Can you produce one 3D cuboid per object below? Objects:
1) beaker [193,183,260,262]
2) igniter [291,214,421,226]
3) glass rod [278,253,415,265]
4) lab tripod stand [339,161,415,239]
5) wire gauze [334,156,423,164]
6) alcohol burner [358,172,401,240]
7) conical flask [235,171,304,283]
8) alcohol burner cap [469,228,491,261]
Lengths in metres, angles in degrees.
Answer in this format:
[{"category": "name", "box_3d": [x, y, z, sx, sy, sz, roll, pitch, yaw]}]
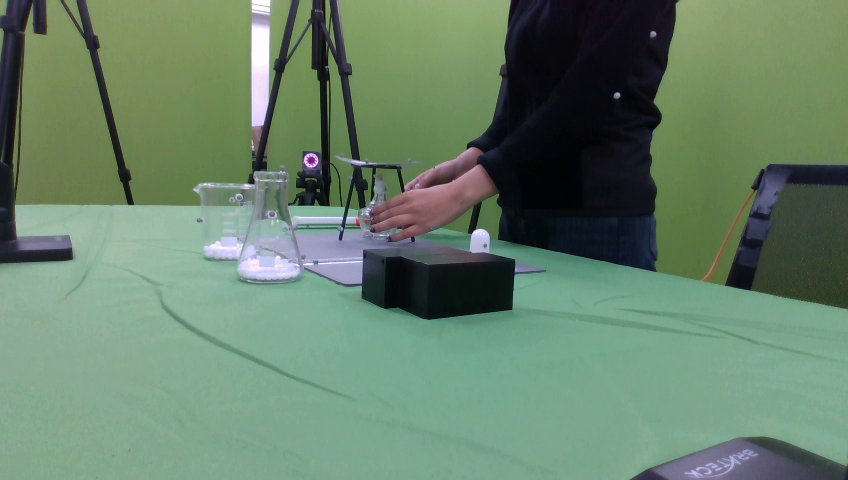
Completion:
[{"category": "beaker", "box_3d": [-0.262, -0.025, 0.806, 0.084, 0.100, 0.073, -3, 9, -30]}, {"category": "igniter", "box_3d": [-0.135, -0.041, 1.250, 0.278, 0.025, 0.057, -2, -3, -28]}, {"category": "glass rod", "box_3d": [-0.097, 0.024, 0.805, 0.201, 0.008, 0.008, -2, 8, -33]}, {"category": "lab tripod stand", "box_3d": [-0.082, -0.070, 1.060, 0.148, 0.131, 0.148, 4, 6, 0]}, {"category": "wire gauze", "box_3d": [-0.081, -0.137, 1.051, 0.122, 0.011, 0.124, 0, 8, -30]}, {"category": "alcohol burner", "box_3d": [-0.077, -0.061, 1.065, 0.078, 0.119, 0.078, 4, 9, 0]}, {"category": "conical flask", "box_3d": [-0.172, -0.016, 0.677, 0.075, 0.122, 0.075, 2, 7, 0]}, {"category": "alcohol burner cap", "box_3d": [0.082, 0.006, 0.878, 0.034, 0.048, 0.034, 2, 7, 0]}]
